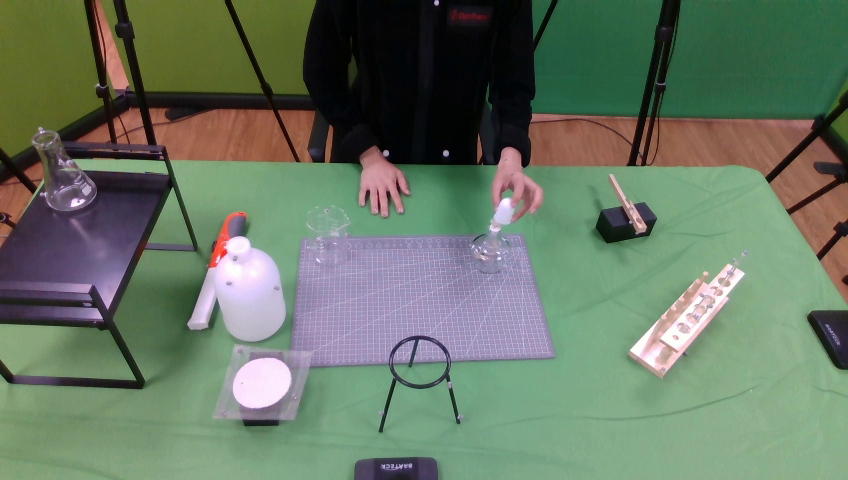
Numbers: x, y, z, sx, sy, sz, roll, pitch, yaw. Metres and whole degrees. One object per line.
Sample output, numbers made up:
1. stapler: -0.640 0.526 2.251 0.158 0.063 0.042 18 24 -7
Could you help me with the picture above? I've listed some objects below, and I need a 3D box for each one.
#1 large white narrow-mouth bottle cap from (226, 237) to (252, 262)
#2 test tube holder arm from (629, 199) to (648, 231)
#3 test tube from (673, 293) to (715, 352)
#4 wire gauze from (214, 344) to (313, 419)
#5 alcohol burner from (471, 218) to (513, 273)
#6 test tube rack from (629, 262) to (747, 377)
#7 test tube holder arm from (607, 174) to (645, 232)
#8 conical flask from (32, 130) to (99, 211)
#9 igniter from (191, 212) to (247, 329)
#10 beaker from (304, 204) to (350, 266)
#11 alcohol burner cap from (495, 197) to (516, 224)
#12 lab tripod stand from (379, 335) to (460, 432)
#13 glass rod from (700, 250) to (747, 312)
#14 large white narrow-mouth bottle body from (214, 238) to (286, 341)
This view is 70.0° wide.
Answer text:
1. large white narrow-mouth bottle cap: -0.282 0.015 0.923 0.038 0.024 0.037 2 46 -2
2. test tube holder arm: 0.423 -0.050 1.206 0.010 0.015 0.087 1 41 -12
3. test tube: 0.429 0.137 0.979 0.017 0.151 0.017 5 46 -5
4. wire gauze: -0.241 0.213 0.916 0.121 0.011 0.124 5 46 1
5. alcohol burner: 0.128 0.005 1.132 0.078 0.120 0.077 0 47 0
6. test tube rack: 0.464 0.126 1.061 0.242 0.085 0.066 -34 56 -31
7. test tube holder arm: 0.411 -0.080 1.238 0.013 0.015 0.177 1 42 -13
8. conical flask: -0.565 -0.110 0.944 0.075 0.122 0.075 2 46 -2
9. igniter: -0.376 0.047 1.121 0.057 0.025 0.275 -4 46 6
10. beaker: -0.178 -0.006 1.132 0.084 0.101 0.073 4 46 -1
11. alcohol burner cap: 0.146 -0.055 1.070 0.034 0.048 0.033 5 44 -5
12. lab tripod stand: -0.011 0.214 0.911 0.148 0.132 0.147 1 45 0
13. glass rod: 0.500 0.075 1.021 0.008 0.201 0.008 0 54 1
14. large white narrow-mouth bottle body: -0.285 0.073 0.986 0.102 0.195 0.101 2 46 -2
